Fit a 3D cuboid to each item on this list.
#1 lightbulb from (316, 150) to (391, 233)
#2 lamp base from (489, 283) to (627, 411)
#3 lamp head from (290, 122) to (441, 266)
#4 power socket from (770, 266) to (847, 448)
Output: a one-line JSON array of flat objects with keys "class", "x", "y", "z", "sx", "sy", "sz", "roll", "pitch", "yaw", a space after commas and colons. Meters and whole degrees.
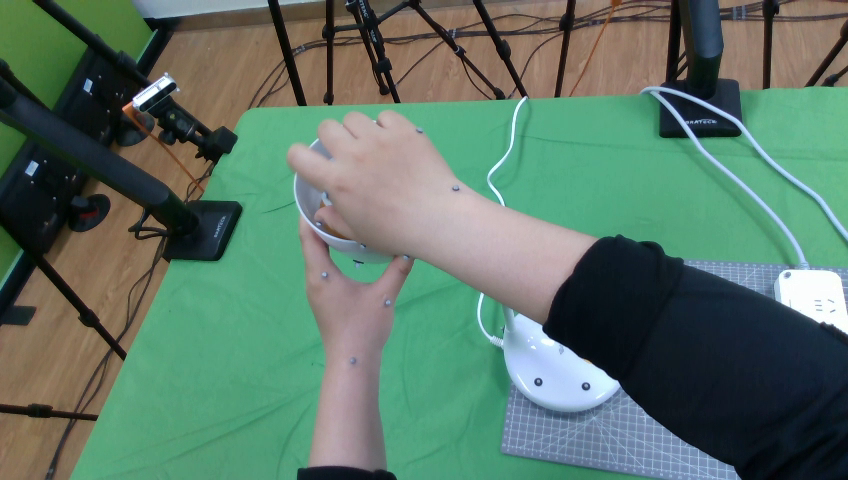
[{"class": "lightbulb", "x": -0.054, "y": -0.033, "z": 0.506, "sx": 0.059, "sy": 0.108, "sz": 0.059, "roll": -2, "pitch": 70, "yaw": 5}, {"class": "lamp base", "x": 0.152, "y": 0.106, "z": 0.738, "sx": 0.178, "sy": 0.182, "sz": 0.159, "roll": -4, "pitch": 56, "yaw": 18}, {"class": "lamp head", "x": -0.043, "y": -0.026, "z": 0.533, "sx": 0.112, "sy": 0.124, "sz": 0.111, "roll": -4, "pitch": 66, "yaw": 9}, {"class": "power socket", "x": 0.465, "y": 0.129, "z": 0.722, "sx": 0.072, "sy": 0.033, "sz": 0.225, "roll": 2, "pitch": 58, "yaw": 17}]
